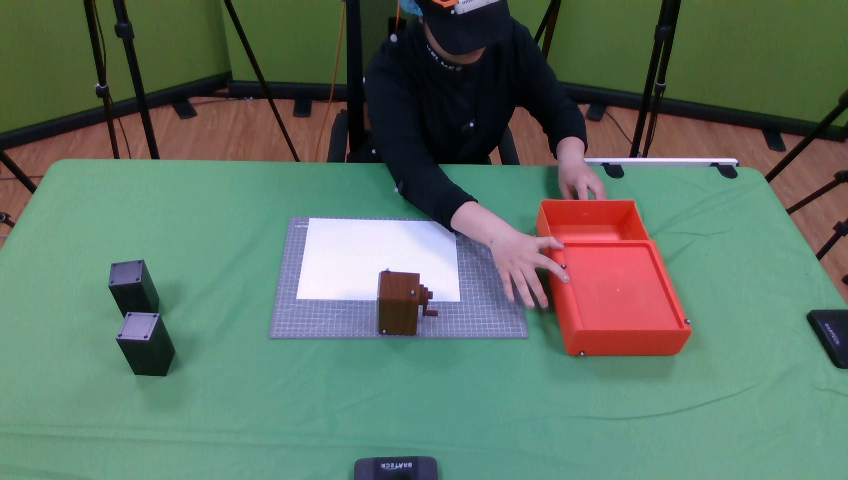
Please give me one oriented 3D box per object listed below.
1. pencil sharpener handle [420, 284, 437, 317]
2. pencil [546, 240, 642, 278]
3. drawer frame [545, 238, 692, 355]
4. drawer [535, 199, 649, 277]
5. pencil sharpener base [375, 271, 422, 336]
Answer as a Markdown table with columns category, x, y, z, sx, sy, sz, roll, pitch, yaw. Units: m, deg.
| category | x | y | z | sx | sy | sz | roll | pitch | yaw |
| --- | --- | --- | --- | --- | --- | --- | --- | --- | --- |
| pencil sharpener handle | 0.009 | 0.104 | 1.016 | 0.030 | 0.068 | 0.036 | 3 | 38 | -2 |
| pencil | 0.332 | 0.038 | 1.187 | 0.193 | 0.012 | 0.012 | 21 | 48 | 12 |
| drawer frame | 0.338 | 0.097 | 1.086 | 0.202 | 0.083 | 0.212 | 0 | 46 | -4 |
| drawer | 0.333 | 0.015 | 1.168 | 0.195 | 0.073 | 0.210 | 1 | 46 | -5 |
| pencil sharpener base | -0.042 | 0.109 | 1.025 | 0.077 | 0.107 | 0.061 | 3 | 45 | -2 |
